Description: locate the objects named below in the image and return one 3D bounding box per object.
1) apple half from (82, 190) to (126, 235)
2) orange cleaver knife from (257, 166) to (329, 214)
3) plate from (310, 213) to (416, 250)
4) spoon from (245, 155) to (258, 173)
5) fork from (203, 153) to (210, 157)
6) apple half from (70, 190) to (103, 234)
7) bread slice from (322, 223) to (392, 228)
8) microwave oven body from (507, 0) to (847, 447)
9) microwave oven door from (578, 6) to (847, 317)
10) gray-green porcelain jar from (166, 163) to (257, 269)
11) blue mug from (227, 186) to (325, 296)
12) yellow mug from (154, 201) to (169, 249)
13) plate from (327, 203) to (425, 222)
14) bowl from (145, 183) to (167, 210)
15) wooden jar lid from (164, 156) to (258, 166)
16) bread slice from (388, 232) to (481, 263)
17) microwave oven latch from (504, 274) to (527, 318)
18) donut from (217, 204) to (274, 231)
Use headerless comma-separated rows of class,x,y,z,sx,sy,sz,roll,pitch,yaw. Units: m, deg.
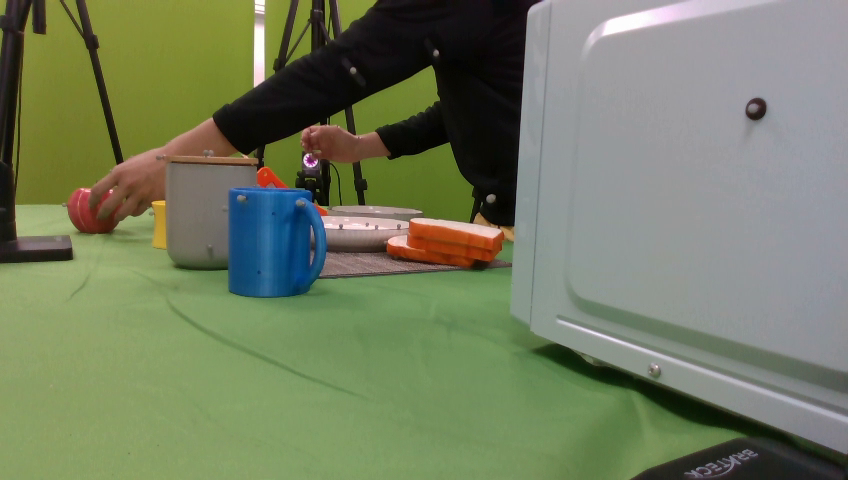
apple half,-0.516,-0.046,0.994,0.032,0.081,0.081,0,6,25
orange cleaver knife,-0.293,-0.086,1.330,0.012,0.077,0.212,9,-19,49
plate,-0.116,-0.014,0.968,0.208,0.039,0.207,2,8,0
spoon,-0.421,-0.150,1.540,0.042,0.193,0.021,-6,-34,-36
fork,-0.480,-0.134,1.411,0.028,0.018,0.207,1,-35,0
apple half,-0.552,-0.048,1.009,0.053,0.074,0.081,-1,9,26
bread slice,-0.116,-0.014,0.975,0.135,0.018,0.106,-6,11,-42
microwave oven body,0.331,-0.042,0.426,0.444,0.260,0.324,-2,8,-31
microwave oven door,0.294,-0.067,0.570,0.358,0.243,0.039,-3,9,-31
gray-green porcelain jar,-0.263,-0.031,0.754,0.106,0.126,0.106,2,7,0
blue mug,-0.146,0.000,0.618,0.116,0.106,0.083,7,9,32
yellow mug,-0.337,-0.023,0.899,0.130,0.064,0.100,8,9,34
plate,-0.102,-0.053,1.299,0.209,0.038,0.209,2,8,0
bowl,-0.459,-0.069,1.175,0.151,0.077,0.151,2,7,0
wooden jar lid,-0.261,-0.093,0.746,0.108,0.020,0.108,1,9,0
bread slice,0.016,0.010,0.866,0.131,0.019,0.105,8,9,8
microwave oven latch,0.100,0.041,0.472,0.079,0.029,0.030,-2,8,-29
donut,-0.318,-0.038,1.080,0.099,0.048,0.099,2,7,0
